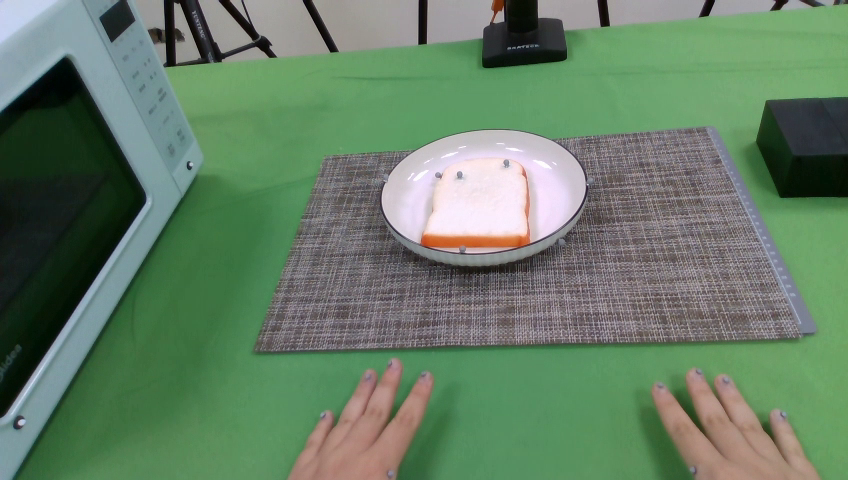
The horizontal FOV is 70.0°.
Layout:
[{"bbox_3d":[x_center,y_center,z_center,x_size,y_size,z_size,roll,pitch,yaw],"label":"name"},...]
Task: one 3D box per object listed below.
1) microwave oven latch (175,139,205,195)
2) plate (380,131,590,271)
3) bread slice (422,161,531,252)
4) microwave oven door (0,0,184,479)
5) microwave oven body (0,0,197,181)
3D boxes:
[{"bbox_3d":[-0.287,-0.086,0.721,0.030,0.030,0.078,-1,43,9],"label":"microwave oven latch"},{"bbox_3d":[0.060,-0.040,0.617,0.209,0.038,0.207,-6,42,6],"label":"plate"},{"bbox_3d":[0.057,-0.037,0.619,0.105,0.019,0.130,-1,43,11],"label":"bread slice"},{"bbox_3d":[-0.324,-0.014,0.493,0.039,0.246,0.352,-3,42,9],"label":"microwave oven door"},{"bbox_3d":[-0.464,-0.032,0.550,0.325,0.263,0.437,-2,43,9],"label":"microwave oven body"}]
